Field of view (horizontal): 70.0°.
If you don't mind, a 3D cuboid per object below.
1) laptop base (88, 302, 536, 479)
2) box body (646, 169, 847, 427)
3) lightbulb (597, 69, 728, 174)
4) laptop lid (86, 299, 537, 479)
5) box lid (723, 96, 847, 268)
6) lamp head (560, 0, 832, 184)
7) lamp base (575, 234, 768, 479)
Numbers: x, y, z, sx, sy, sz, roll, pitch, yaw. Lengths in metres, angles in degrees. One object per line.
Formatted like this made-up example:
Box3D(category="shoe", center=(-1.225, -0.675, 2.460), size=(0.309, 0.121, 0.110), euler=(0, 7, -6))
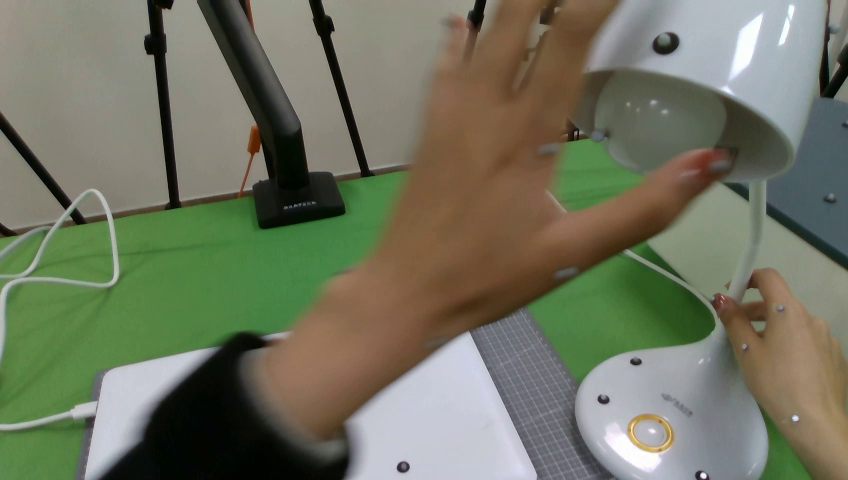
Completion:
Box3D(category="laptop base", center=(-0.107, 0.168, 0.540), size=(0.355, 0.023, 0.233), euler=(-10, 39, -12))
Box3D(category="box body", center=(0.433, 0.007, 0.622), size=(0.255, 0.162, 0.360), euler=(-12, 36, -14))
Box3D(category="lightbulb", center=(0.125, -0.084, 0.295), size=(0.059, 0.107, 0.059), euler=(24, 0, 0))
Box3D(category="laptop lid", center=(-0.106, 0.159, 0.531), size=(0.357, 0.013, 0.239), euler=(-9, 38, -11))
Box3D(category="box lid", center=(0.431, -0.056, 0.581), size=(0.264, 0.015, 0.367), euler=(-11, 36, -14))
Box3D(category="lamp head", center=(0.142, -0.101, 0.297), size=(0.111, 0.113, 0.122), euler=(22, 80, 31))
Box3D(category="lamp base", center=(0.221, 0.089, 0.495), size=(0.159, 0.181, 0.179), euler=(26, 40, 33))
